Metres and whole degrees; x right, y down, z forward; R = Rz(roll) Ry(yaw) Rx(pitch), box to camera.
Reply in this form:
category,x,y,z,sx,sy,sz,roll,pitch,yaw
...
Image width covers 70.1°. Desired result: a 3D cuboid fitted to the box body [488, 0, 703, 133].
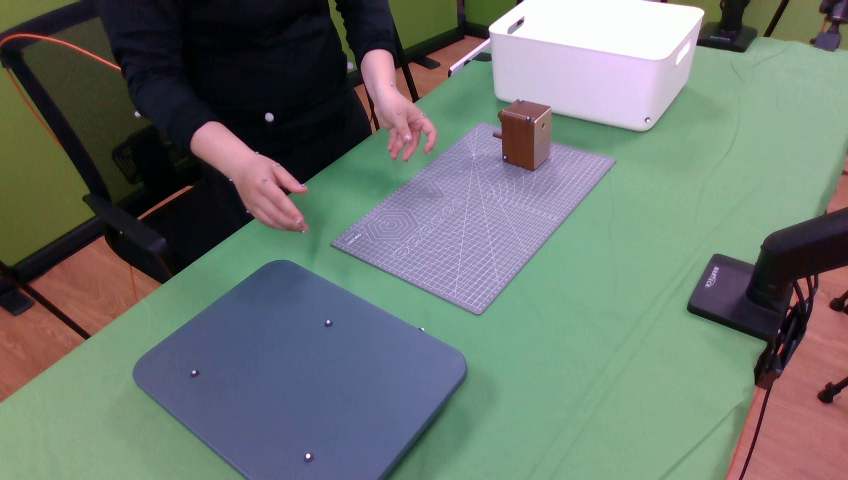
category,x,y,z,sx,sy,sz,roll,pitch,yaw
box body,0.346,-0.374,1.251,0.361,0.161,0.255,20,48,29

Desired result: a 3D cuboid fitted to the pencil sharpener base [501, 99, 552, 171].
category,x,y,z,sx,sy,sz,roll,pitch,yaw
pencil sharpener base,0.184,-0.191,1.097,0.076,0.107,0.061,23,49,32

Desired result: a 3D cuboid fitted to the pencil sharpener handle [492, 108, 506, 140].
category,x,y,z,sx,sy,sz,roll,pitch,yaw
pencil sharpener handle,0.141,-0.216,1.114,0.030,0.068,0.036,23,41,32

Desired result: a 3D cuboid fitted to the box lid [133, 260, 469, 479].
category,x,y,z,sx,sy,sz,roll,pitch,yaw
box lid,-0.156,0.160,0.747,0.368,0.015,0.264,23,49,31
